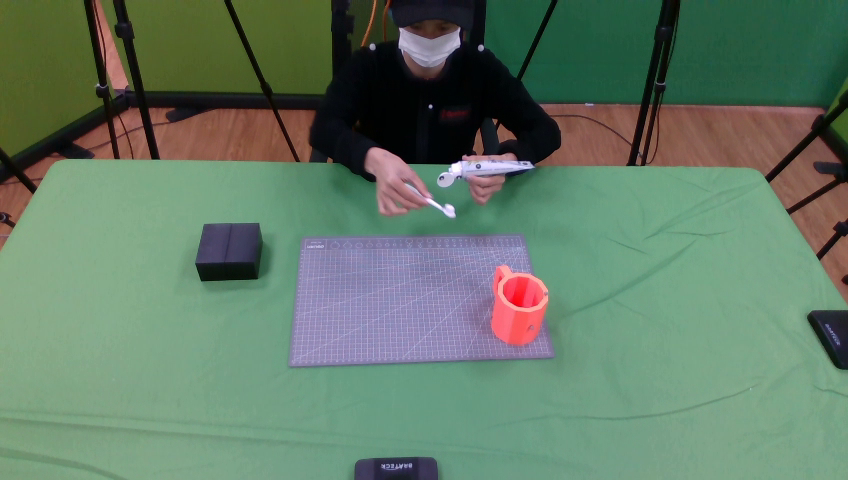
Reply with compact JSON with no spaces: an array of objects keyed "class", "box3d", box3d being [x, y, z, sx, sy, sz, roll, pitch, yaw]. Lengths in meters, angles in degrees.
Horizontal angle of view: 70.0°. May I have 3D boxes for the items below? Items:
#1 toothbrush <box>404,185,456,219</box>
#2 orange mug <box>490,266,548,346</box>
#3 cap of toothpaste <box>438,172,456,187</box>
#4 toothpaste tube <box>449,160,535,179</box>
[{"class":"toothbrush","box3d":[0.008,-0.073,1.083,0.014,0.017,0.181,-15,27,-25]},{"class":"orange mug","box3d":[0.155,0.107,1.051,0.083,0.101,0.125,-15,53,-17]},{"class":"cap of toothpaste","box3d":[0.044,-0.119,1.173,0.037,0.037,0.011,-10,47,-14]},{"class":"toothpaste tube","box3d":[0.131,-0.142,1.188,0.165,0.034,0.055,-6,24,-1]}]
